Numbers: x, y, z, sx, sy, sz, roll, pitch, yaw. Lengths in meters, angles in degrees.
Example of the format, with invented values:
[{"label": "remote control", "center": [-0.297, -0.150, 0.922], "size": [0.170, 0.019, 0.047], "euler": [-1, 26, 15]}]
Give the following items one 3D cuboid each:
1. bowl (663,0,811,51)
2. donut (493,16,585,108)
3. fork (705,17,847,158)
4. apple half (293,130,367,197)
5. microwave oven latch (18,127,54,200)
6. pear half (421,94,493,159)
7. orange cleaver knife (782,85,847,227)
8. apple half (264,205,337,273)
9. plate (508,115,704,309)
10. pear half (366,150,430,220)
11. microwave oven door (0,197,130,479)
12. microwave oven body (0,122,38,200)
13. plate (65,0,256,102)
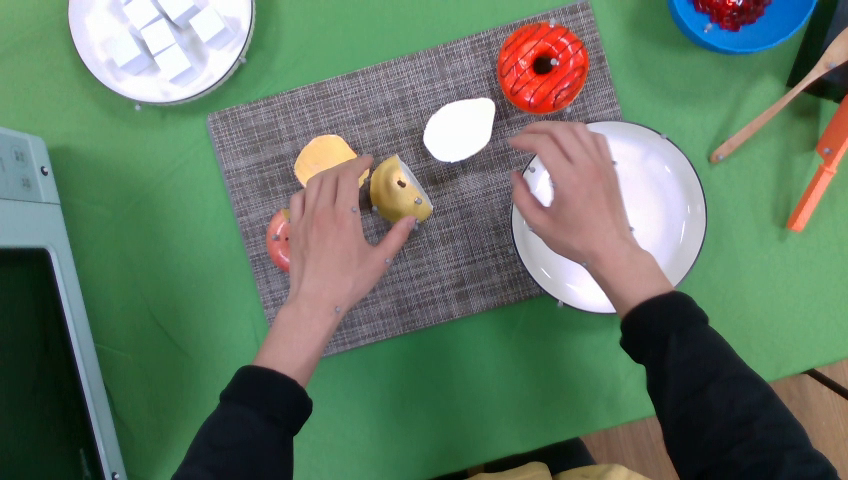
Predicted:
[{"label": "bowl", "center": [0.316, -0.266, 0.637], "size": [0.151, 0.077, 0.151], "euler": [0, 92, 2]}, {"label": "donut", "center": [0.124, -0.192, 0.658], "size": [0.099, 0.048, 0.099], "euler": [0, 92, 5]}, {"label": "fork", "center": [0.381, -0.161, 0.633], "size": [0.028, 0.018, 0.207], "euler": [42, 112, -7]}, {"label": "apple half", "center": [-0.106, -0.078, 0.669], "size": [0.081, 0.033, 0.080], "euler": [4, 69, -10]}, {"label": "microwave oven latch", "center": [-0.435, -0.083, 0.666], "size": [0.030, 0.029, 0.079], "euler": [-12, 91, 2]}, {"label": "pear half", "center": [0.040, -0.123, 0.668], "size": [0.088, 0.031, 0.070], "euler": [-40, 78, -6]}, {"label": "orange cleaver knife", "center": [0.432, -0.114, 0.634], "size": [0.012, 0.077, 0.212], "euler": [21, 117, 7]}, {"label": "apple half", "center": [-0.139, 0.006, 0.656], "size": [0.081, 0.074, 0.053], "euler": [38, 96, -3]}, {"label": "plate", "center": [0.195, -0.030, 0.662], "size": [0.209, 0.038, 0.209], "euler": [0, 91, 2]}, {"label": "pear half", "center": [-0.033, -0.052, 0.633], "size": [0.056, 0.110, 0.076], "euler": [-39, 86, 2]}, {"label": "microwave oven door", "center": [-0.390, 0.132, 0.568], "size": [0.039, 0.244, 0.355], "euler": [-14, 90, 2]}, {"label": "microwave oven body", "center": [-0.542, 0.125, 0.578], "size": [0.326, 0.260, 0.441], "euler": [-14, 91, 2]}, {"label": "plate", "center": [-0.288, -0.256, 0.676], "size": [0.207, 0.039, 0.207], "euler": [0, 91, 2]}]
